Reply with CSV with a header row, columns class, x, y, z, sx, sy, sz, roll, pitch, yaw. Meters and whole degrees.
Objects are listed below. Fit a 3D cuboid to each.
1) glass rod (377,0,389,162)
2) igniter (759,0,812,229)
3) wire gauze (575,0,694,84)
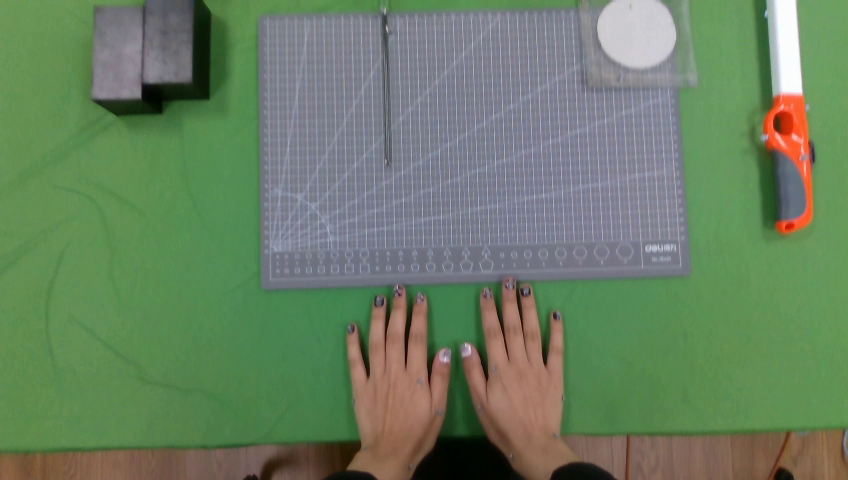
class,x,y,z,sx,sy,sz,roll,pitch,yaw
glass rod,-0.044,-0.182,0.648,0.008,0.008,0.199,-2,85,-1
igniter,0.384,-0.148,0.647,0.057,0.025,0.276,1,85,-10
wire gauze,0.228,-0.229,0.658,0.125,0.011,0.121,-3,85,-1
